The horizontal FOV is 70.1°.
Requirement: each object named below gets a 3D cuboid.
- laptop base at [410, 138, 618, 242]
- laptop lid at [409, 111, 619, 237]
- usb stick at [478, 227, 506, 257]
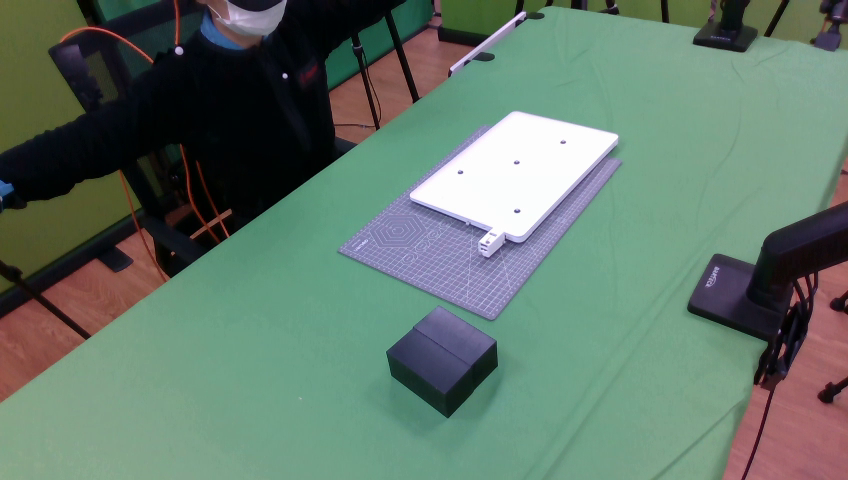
[{"bbox_3d":[0.170,-0.127,1.096,0.233,0.023,0.355,21,47,34],"label":"laptop base"},{"bbox_3d":[0.167,-0.137,1.089,0.239,0.013,0.358,24,48,34],"label":"laptop lid"},{"bbox_3d":[0.109,-0.001,0.934,0.021,0.027,0.059,23,43,33],"label":"usb stick"}]
